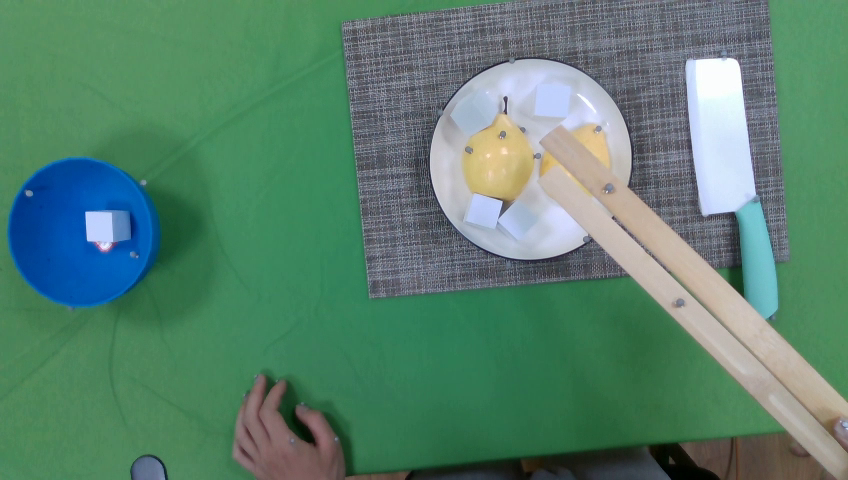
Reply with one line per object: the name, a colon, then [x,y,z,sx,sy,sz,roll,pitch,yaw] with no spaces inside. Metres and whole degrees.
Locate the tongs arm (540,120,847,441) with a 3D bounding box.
tongs arm: [0.225,0.049,0.448,0.028,0.028,0.385,-39,75,-8]

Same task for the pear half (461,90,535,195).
pear half: [0.077,-0.103,0.619,0.076,0.056,0.109,4,88,-1]

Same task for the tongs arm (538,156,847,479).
tongs arm: [0.232,0.061,0.490,0.026,0.051,0.382,-40,74,-5]

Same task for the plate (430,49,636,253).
plate: [0.111,-0.090,0.631,0.207,0.039,0.207,0,92,3]

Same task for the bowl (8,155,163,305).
bowl: [-0.338,-0.011,0.639,0.151,0.077,0.151,0,92,2]

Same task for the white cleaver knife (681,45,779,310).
white cleaver knife: [0.319,-0.063,0.637,0.066,0.021,0.286,-9,88,15]

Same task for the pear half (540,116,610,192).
pear half: [0.160,-0.087,0.624,0.070,0.031,0.088,25,99,-2]
